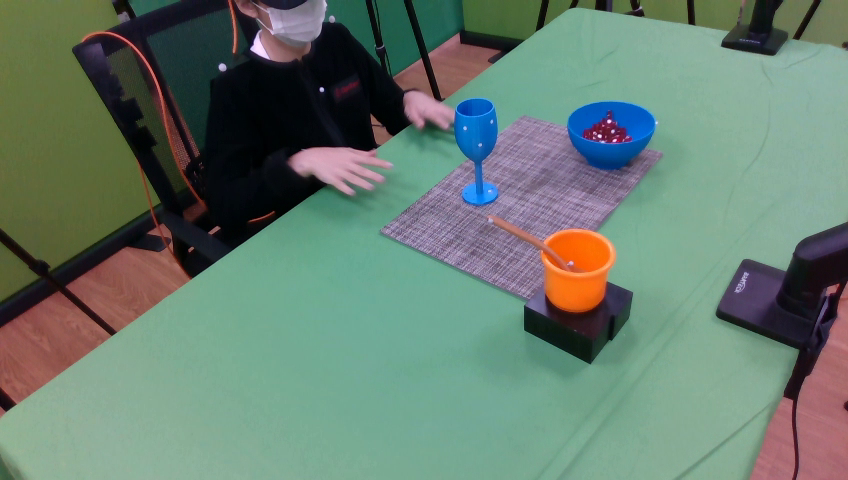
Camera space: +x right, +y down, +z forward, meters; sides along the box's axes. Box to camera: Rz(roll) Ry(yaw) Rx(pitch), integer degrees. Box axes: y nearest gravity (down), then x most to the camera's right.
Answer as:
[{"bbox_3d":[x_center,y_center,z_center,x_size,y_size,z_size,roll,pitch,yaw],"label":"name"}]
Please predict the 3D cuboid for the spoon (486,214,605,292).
[{"bbox_3d":[0.155,0.015,0.758,0.021,0.195,0.041,-44,26,28],"label":"spoon"}]

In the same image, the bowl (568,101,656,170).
[{"bbox_3d":[0.332,-0.179,1.084,0.151,0.077,0.150,-4,40,4],"label":"bowl"}]

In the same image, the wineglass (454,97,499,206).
[{"bbox_3d":[0.090,-0.145,1.009,0.074,0.173,0.073,-5,40,4],"label":"wineglass"}]
